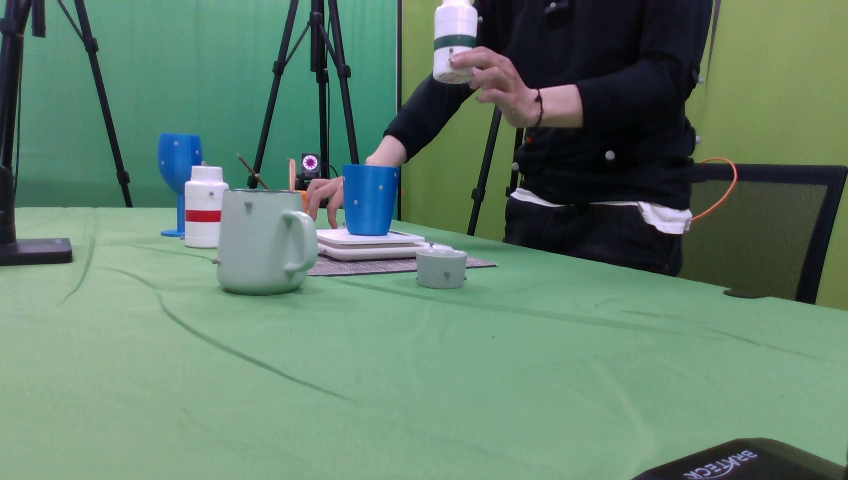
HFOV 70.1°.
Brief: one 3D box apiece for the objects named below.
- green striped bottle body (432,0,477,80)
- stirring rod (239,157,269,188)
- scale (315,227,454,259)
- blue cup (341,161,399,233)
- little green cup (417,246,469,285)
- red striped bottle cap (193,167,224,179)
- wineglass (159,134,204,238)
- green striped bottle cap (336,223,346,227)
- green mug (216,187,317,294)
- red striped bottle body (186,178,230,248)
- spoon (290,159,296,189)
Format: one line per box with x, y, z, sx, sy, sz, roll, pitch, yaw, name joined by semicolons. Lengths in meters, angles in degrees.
0.044;-0.299;0.879;0.063;0.119;0.063;1;1;0;green striped bottle body
-0.309;-0.098;1.209;0.006;0.177;0.014;-39;29;-4;stirring rod
-0.066;0.001;0.906;0.202;0.031;0.148;-2;8;-31;scale
-0.081;-0.062;0.884;0.093;0.100;0.092;3;5;0;blue cup
0.021;0.029;0.701;0.061;0.038;0.061;1;6;0;little green cup
-0.329;-0.103;0.921;0.044;0.017;0.044;0;9;0;red striped bottle cap
-0.415;-0.093;1.039;0.074;0.172;0.073;2;7;0;wineglass
-0.137;-0.018;1.088;0.044;0.020;0.044;2;-5;0;green striped bottle cap
-0.157;0.000;0.629;0.124;0.105;0.093;7;9;37;green mug
-0.331;-0.049;0.928;0.063;0.119;0.063;2;7;0;red striped bottle body
-0.273;-0.102;1.252;0.042;0.193;0.021;8;-39;-17;spoon
